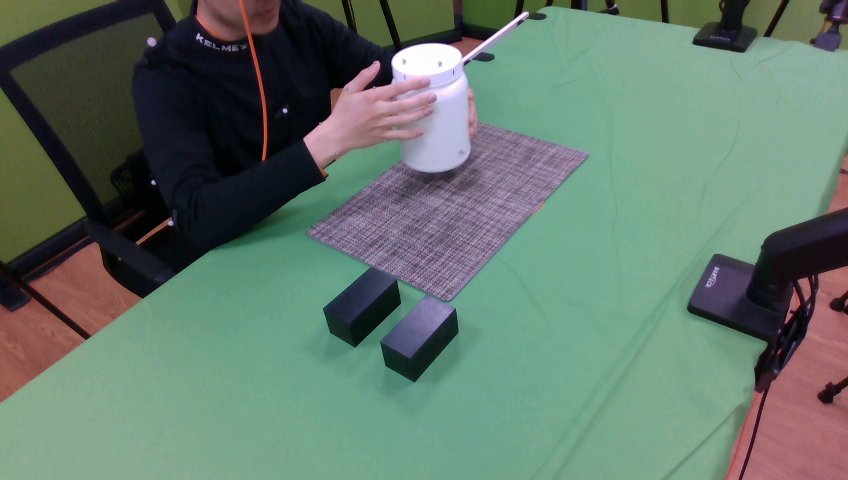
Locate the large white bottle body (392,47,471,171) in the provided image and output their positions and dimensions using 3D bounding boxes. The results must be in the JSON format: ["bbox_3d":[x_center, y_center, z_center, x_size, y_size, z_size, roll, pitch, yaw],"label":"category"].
[{"bbox_3d":[0.015,-0.227,1.043,0.130,0.185,0.130,-3,41,3],"label":"large white bottle body"}]

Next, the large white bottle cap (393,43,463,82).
[{"bbox_3d":[0.007,-0.291,0.987,0.115,0.018,0.114,-4,41,4],"label":"large white bottle cap"}]
